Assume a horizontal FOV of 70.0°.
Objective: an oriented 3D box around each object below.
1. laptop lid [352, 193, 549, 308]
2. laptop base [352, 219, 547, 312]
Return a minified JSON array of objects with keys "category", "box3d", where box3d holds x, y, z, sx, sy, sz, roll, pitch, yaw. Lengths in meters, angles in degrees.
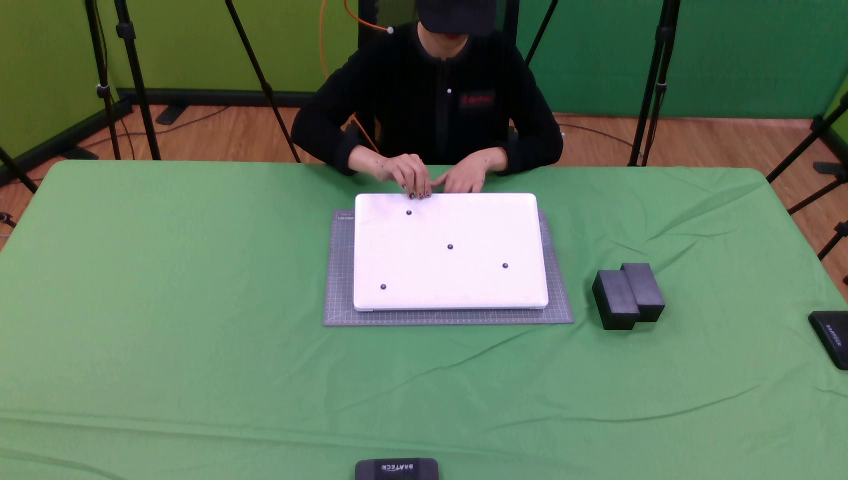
[{"category":"laptop lid","box3d":[0.046,0.013,1.120,0.357,0.013,0.240,1,64,-4]},{"category":"laptop base","box3d":[0.043,0.044,1.162,0.355,0.023,0.234,0,43,-5]}]
